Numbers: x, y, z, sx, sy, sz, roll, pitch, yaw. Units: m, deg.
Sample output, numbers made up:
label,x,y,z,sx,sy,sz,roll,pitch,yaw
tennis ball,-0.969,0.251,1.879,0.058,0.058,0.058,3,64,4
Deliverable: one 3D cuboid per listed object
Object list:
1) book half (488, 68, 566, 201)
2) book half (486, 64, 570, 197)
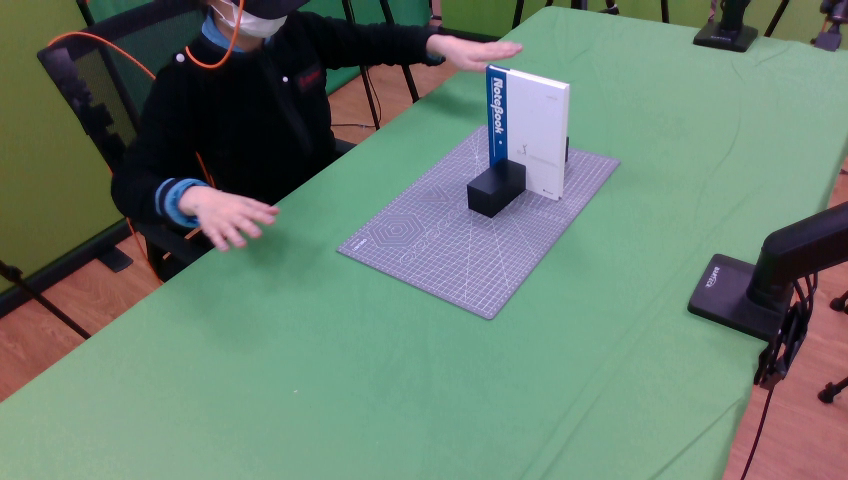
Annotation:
label,x,y,z,sx,sy,sz,roll,pitch,yaw
book half,0.167,-0.171,0.995,0.142,0.211,0.007,27,52,34
book half,0.170,-0.176,1.000,0.147,0.211,0.016,26,51,33
